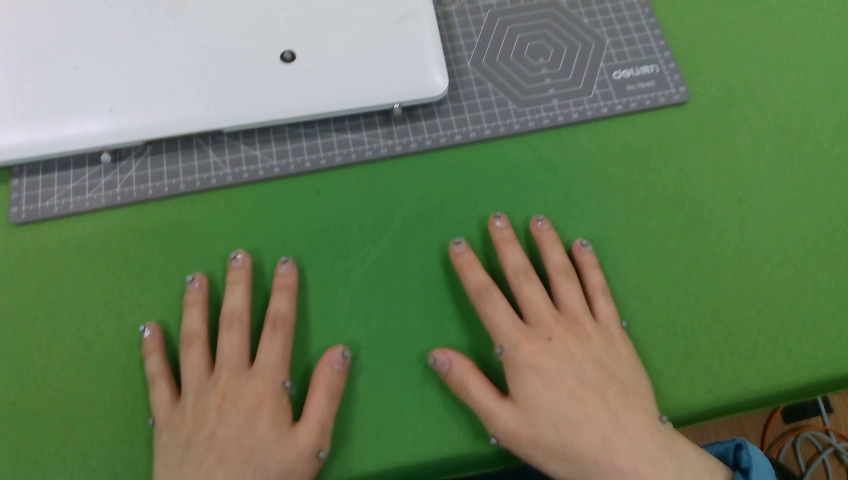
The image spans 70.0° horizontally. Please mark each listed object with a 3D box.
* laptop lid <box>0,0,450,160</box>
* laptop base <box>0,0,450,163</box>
[{"bbox_3d":[-0.173,-0.177,0.423,0.357,0.013,0.240,-8,72,-2],"label":"laptop lid"},{"bbox_3d":[-0.173,-0.175,0.435,0.354,0.023,0.234,-9,73,-2],"label":"laptop base"}]
